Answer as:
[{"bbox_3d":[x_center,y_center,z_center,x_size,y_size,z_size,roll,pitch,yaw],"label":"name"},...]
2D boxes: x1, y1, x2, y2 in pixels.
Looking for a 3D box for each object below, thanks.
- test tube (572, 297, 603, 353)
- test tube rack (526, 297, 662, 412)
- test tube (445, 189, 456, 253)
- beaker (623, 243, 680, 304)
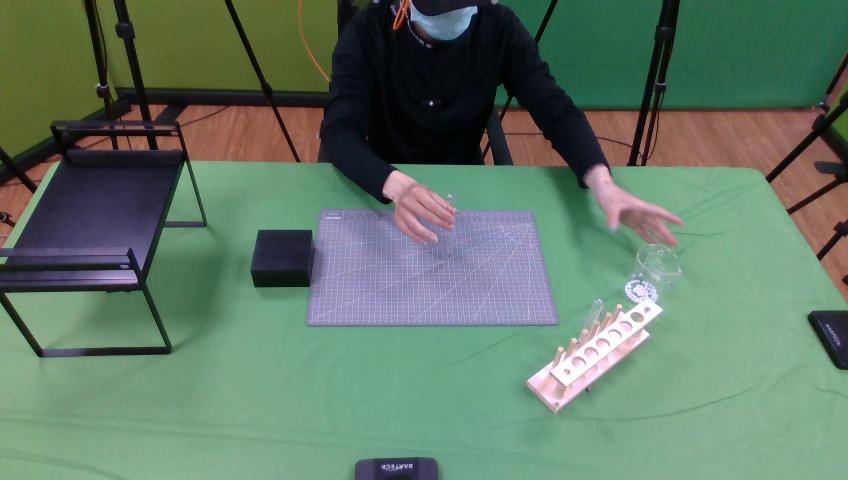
[{"bbox_3d":[0.263,0.141,0.977,0.017,0.151,0.017,2,47,-2],"label":"test tube"},{"bbox_3d":[0.284,0.176,1.007,0.242,0.085,0.066,-29,54,-27],"label":"test tube rack"},{"bbox_3d":[0.048,-0.031,1.104,0.017,0.151,0.017,0,44,0],"label":"test tube"},{"bbox_3d":[0.414,0.067,1.111,0.083,0.101,0.074,31,52,22],"label":"beaker"}]
